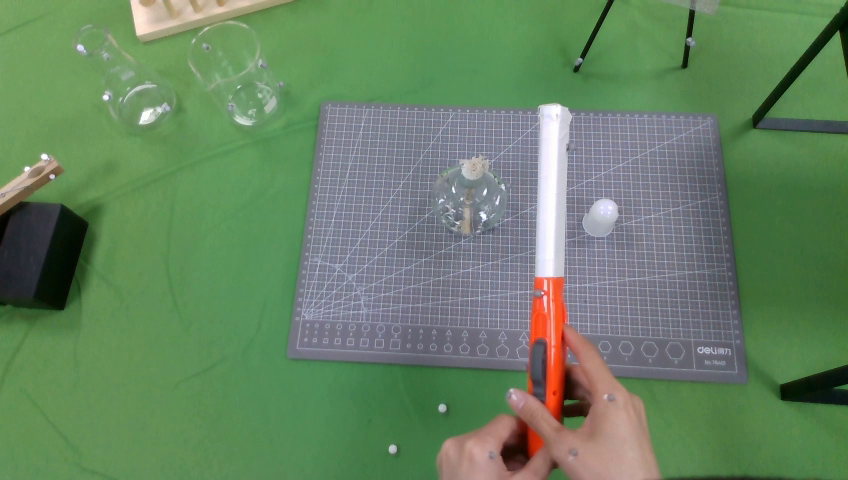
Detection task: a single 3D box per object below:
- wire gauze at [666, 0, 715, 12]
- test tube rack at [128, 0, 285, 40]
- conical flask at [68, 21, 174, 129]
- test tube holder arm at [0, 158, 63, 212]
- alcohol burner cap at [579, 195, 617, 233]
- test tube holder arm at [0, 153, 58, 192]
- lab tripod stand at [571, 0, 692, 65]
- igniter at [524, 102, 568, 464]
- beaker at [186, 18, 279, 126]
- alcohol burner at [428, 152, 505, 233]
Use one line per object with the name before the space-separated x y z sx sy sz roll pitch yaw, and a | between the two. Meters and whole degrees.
wire gauze | 0.241 -0.287 0.598 0.121 0.011 0.124 23 73 8
test tube rack | -0.245 -0.324 0.723 0.242 0.086 0.066 -17 70 -5
conical flask | -0.331 -0.181 0.654 0.075 0.122 0.075 -1 70 2
test tube holder arm | -0.410 -0.052 0.614 0.088 0.015 0.010 -39 74 -12
alcohol burner cap | 0.181 -0.030 0.625 0.034 0.048 0.033 0 70 1
test tube holder arm | -0.447 -0.027 0.606 0.178 0.015 0.013 -40 74 -13
lab tripod stand | 0.236 -0.262 0.661 0.148 0.132 0.147 0 69 0
igniter | 0.094 0.037 0.462 0.025 0.057 0.276 2 92 32
beaker | -0.205 -0.175 0.661 0.074 0.101 0.083 17 72 9
alcohol burner | 0.043 -0.052 0.599 0.078 0.120 0.077 0 69 0
